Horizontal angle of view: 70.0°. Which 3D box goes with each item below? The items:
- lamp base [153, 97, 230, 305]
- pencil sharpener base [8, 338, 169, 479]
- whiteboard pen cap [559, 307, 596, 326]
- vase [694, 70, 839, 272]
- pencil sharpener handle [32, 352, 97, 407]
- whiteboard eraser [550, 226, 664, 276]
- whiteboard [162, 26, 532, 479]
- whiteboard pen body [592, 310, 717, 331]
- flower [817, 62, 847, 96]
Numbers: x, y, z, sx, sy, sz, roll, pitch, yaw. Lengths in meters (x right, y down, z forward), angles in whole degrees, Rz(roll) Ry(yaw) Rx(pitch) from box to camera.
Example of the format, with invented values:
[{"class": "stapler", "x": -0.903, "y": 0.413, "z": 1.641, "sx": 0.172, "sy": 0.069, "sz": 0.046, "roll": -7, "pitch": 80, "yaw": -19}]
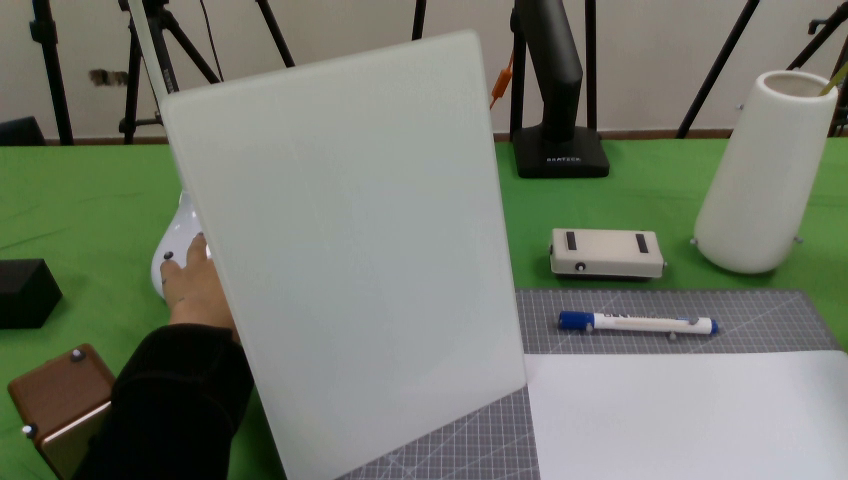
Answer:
[{"class": "lamp base", "x": -0.227, "y": -0.050, "z": 0.631, "sx": 0.177, "sy": 0.182, "sz": 0.160, "roll": 28, "pitch": 47, "yaw": 35}, {"class": "pencil sharpener base", "x": -0.248, "y": 0.138, "z": 0.453, "sx": 0.061, "sy": 0.108, "sz": 0.076, "roll": -32, "pitch": 47, "yaw": -31}, {"class": "whiteboard pen cap", "x": 0.149, "y": 0.075, "z": 0.586, "sx": 0.033, "sy": 0.018, "sz": 0.018, "roll": 4, "pitch": 39, "yaw": 3}, {"class": "vase", "x": 0.345, "y": -0.064, "z": 0.612, "sx": 0.098, "sy": 0.202, "sz": 0.097, "roll": 0, "pitch": 39, "yaw": 1}, {"class": "pencil sharpener handle", "x": -0.282, "y": 0.106, "z": 0.475, "sx": 0.036, "sy": 0.068, "sz": 0.030, "roll": -37, "pitch": 49, "yaw": -26}, {"class": "whiteboard eraser", "x": 0.193, "y": 0.013, "z": 0.647, "sx": 0.112, "sy": 0.042, "sz": 0.055, "roll": 1, "pitch": 36, "yaw": 5}, {"class": "whiteboard", "x": -0.056, "y": 0.006, "z": 0.498, "sx": 0.217, "sy": 0.307, "sz": 0.142, "roll": -19, "pitch": 22, "yaw": -19}, {"class": "whiteboard pen body", "x": 0.208, "y": 0.077, "z": 0.582, "sx": 0.140, "sy": 0.017, "sz": 0.017, "roll": 2, "pitch": 38, "yaw": 5}, {"class": "flower", "x": 0.352, "y": -0.119, "z": 0.549, "sx": 0.044, "sy": 0.364, "sz": 0.038, "roll": -15, "pitch": 57, "yaw": -26}]
